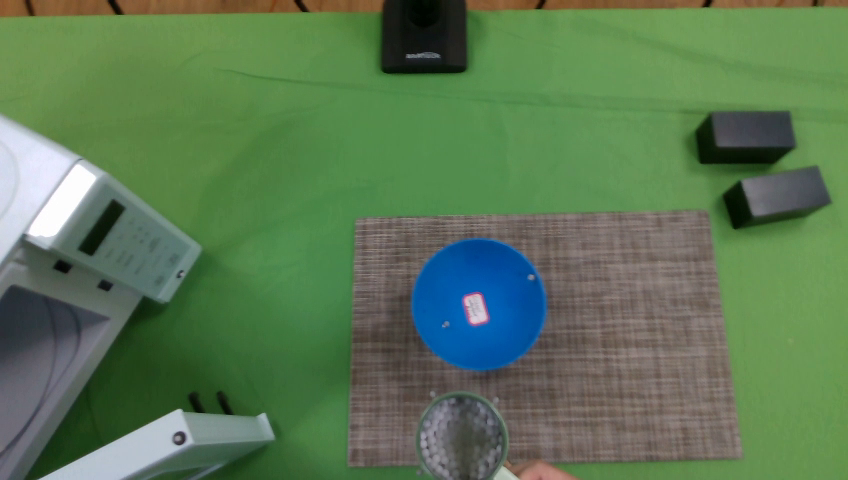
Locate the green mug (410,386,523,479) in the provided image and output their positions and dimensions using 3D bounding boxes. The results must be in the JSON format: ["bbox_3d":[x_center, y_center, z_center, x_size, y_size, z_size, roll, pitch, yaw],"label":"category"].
[{"bbox_3d":[0.044,0.190,0.559,0.125,0.105,0.092,38,78,12],"label":"green mug"}]

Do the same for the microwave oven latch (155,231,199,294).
[{"bbox_3d":[-0.304,0.024,0.728,0.030,0.029,0.079,29,77,8],"label":"microwave oven latch"}]

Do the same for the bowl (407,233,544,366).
[{"bbox_3d":[0.057,0.074,0.703,0.151,0.077,0.150,0,74,1],"label":"bowl"}]

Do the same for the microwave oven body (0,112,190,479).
[{"bbox_3d":[-0.519,0.083,0.613,0.325,0.261,0.440,26,76,8],"label":"microwave oven body"}]

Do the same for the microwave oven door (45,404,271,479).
[{"bbox_3d":[-0.338,0.249,0.557,0.356,0.245,0.039,-27,76,-7],"label":"microwave oven door"}]
